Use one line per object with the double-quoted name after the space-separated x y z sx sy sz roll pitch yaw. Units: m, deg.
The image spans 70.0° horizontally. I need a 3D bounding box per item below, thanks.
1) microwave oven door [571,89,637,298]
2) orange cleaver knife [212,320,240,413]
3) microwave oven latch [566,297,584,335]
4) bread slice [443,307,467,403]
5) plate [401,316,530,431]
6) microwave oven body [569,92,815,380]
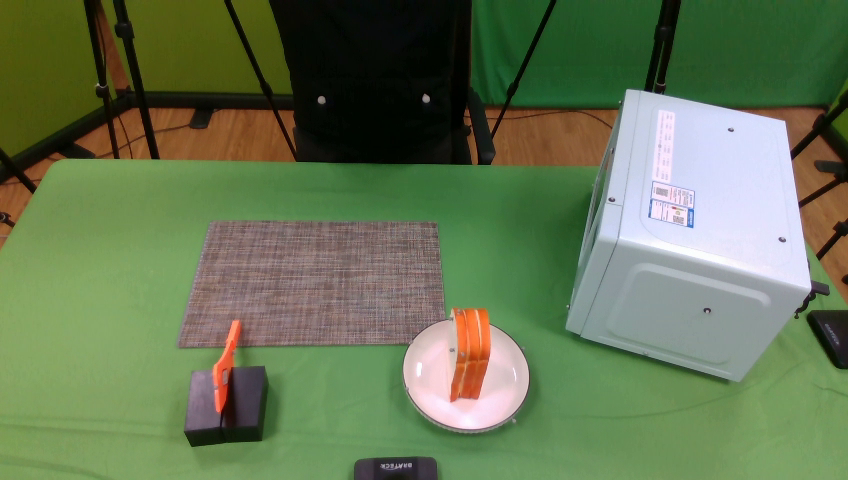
0.343 -0.091 1.133 0.039 0.245 0.354 15 47 10 "microwave oven door"
-0.306 0.190 0.944 0.012 0.077 0.210 -5 17 -7 "orange cleaver knife"
0.268 0.126 1.059 0.030 0.029 0.079 16 46 12 "microwave oven latch"
0.048 0.171 0.948 0.018 0.135 0.106 0 42 -6 "bread slice"
0.066 0.217 0.982 0.208 0.039 0.206 2 46 -2 "plate"
0.468 -0.021 1.082 0.325 0.261 0.440 15 46 11 "microwave oven body"
